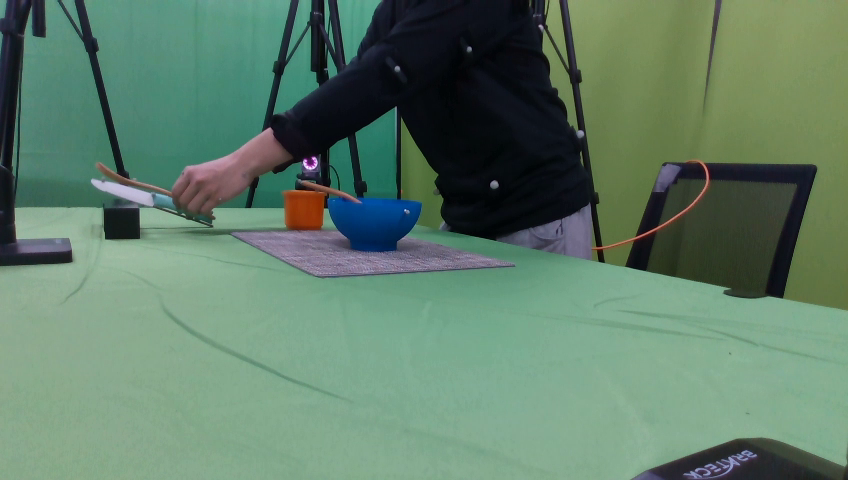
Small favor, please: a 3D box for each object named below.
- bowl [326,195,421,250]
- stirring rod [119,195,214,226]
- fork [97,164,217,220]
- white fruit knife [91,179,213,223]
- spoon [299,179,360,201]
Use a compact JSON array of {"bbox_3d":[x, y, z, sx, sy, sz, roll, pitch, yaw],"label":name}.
[{"bbox_3d":[-0.080,-0.027,0.957,0.151,0.077,0.151,2,7,0],"label":"bowl"},{"bbox_3d":[-0.484,-0.057,1.143,0.177,0.006,0.014,21,-3,-29],"label":"stirring rod"},{"bbox_3d":[-0.447,-0.079,1.024,0.208,0.018,0.028,24,-15,-37],"label":"fork"},{"bbox_3d":[-0.476,-0.072,1.072,0.208,0.027,0.016,18,-6,-29],"label":"white fruit knife"},{"bbox_3d":[-0.123,-0.068,0.993,0.193,0.021,0.042,25,7,17],"label":"spoon"}]
